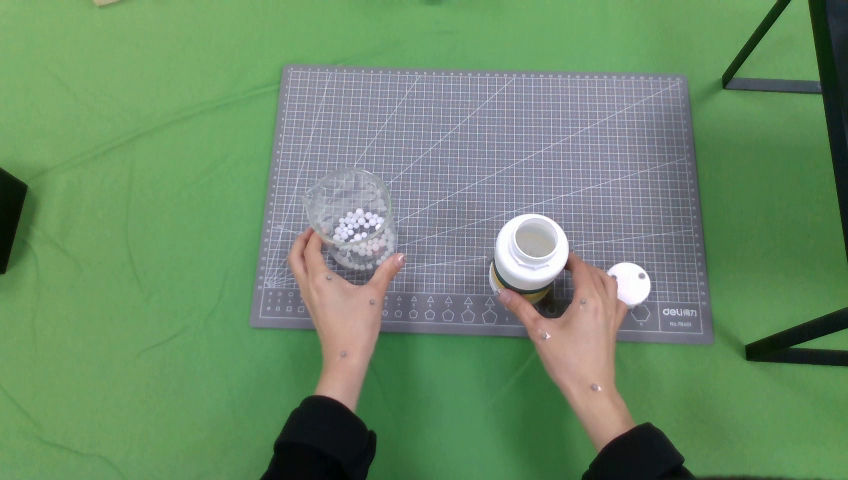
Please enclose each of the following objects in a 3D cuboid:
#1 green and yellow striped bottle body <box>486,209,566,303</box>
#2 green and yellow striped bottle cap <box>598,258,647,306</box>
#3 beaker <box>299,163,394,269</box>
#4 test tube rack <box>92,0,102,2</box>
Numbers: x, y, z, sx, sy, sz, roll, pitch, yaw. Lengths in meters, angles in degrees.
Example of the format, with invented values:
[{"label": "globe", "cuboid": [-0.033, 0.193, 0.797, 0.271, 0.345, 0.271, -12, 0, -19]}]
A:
[{"label": "green and yellow striped bottle body", "cuboid": [0.091, 0.013, 0.549, 0.063, 0.120, 0.063, 0, 71, 1]}, {"label": "green and yellow striped bottle cap", "cuboid": [0.195, 0.041, 0.594, 0.045, 0.020, 0.045, 0, 70, 2]}, {"label": "beaker", "cuboid": [-0.069, -0.018, 0.573, 0.084, 0.101, 0.073, 13, 72, 6]}, {"label": "test tube rack", "cuboid": [-0.288, -0.360, 0.695, 0.242, 0.085, 0.066, -18, 72, -5]}]
